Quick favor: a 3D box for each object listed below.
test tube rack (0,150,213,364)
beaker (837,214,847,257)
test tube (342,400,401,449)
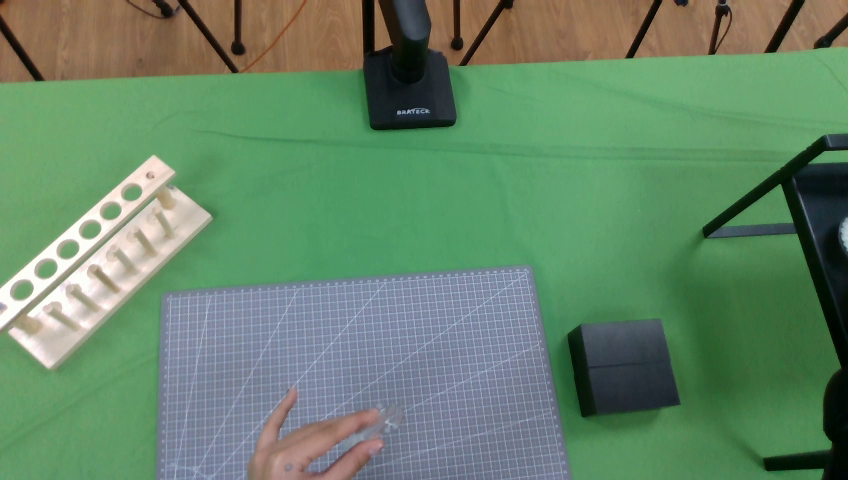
[{"bbox_3d":[-0.357,0.018,0.676,0.066,0.085,0.242,38,70,9],"label":"test tube rack"},{"bbox_3d":[0.462,-0.017,0.583,0.074,0.101,0.083,-39,78,-23],"label":"beaker"},{"bbox_3d":[-0.048,0.161,0.520,0.017,0.150,0.017,9,61,-17],"label":"test tube"}]
